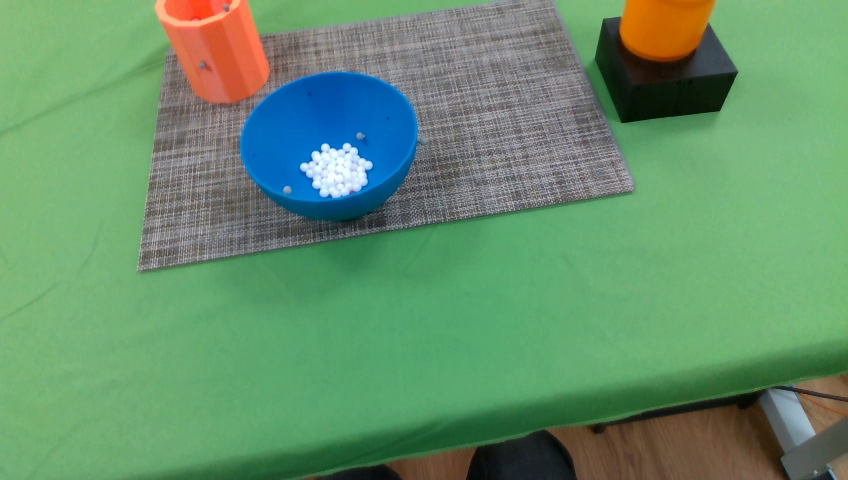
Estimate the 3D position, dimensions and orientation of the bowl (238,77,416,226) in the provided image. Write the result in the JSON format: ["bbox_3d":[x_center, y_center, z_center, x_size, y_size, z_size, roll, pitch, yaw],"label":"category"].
[{"bbox_3d":[-0.079,-0.065,0.539,0.151,0.077,0.150,-1,55,2],"label":"bowl"}]

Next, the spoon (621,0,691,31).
[{"bbox_3d":[0.259,-0.229,0.531,0.022,0.193,0.041,48,56,-17],"label":"spoon"}]

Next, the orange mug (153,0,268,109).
[{"bbox_3d":[-0.217,-0.216,0.638,0.083,0.101,0.125,1,60,4],"label":"orange mug"}]
